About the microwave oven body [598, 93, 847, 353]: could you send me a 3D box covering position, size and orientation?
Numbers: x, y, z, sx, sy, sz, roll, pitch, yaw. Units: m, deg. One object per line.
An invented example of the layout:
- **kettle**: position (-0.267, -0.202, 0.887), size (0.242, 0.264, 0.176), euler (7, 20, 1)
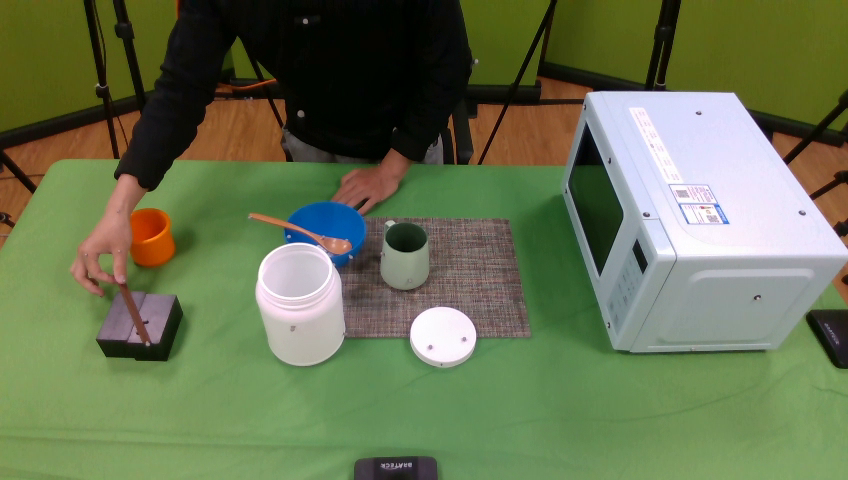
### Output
- **microwave oven body**: position (0.475, -0.041, 1.109), size (0.326, 0.261, 0.438), euler (-1, 45, -4)

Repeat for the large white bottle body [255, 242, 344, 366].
- **large white bottle body**: position (-0.196, 0.102, 0.967), size (0.131, 0.185, 0.130), euler (2, 49, -2)

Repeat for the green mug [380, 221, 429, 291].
- **green mug**: position (-0.043, 0.020, 1.116), size (0.092, 0.105, 0.124), euler (-20, 50, -21)

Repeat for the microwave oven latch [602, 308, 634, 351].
- **microwave oven latch**: position (0.332, 0.153, 1.044), size (0.030, 0.029, 0.078), euler (-1, 45, -4)

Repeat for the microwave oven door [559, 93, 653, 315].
- **microwave oven door**: position (0.327, -0.074, 1.123), size (0.039, 0.245, 0.353), euler (-1, 46, -5)

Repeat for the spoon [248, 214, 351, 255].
- **spoon**: position (-0.228, -0.014, 1.113), size (0.194, 0.022, 0.041), euler (23, 40, -15)

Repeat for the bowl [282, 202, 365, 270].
- **bowl**: position (-0.185, 0.006, 1.136), size (0.151, 0.077, 0.150), euler (3, 46, -3)

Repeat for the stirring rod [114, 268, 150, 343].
- **stirring rod**: position (-0.481, 0.105, 0.996), size (0.014, 0.006, 0.175), euler (8, 33, -48)

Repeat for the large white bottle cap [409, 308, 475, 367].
- **large white bottle cap**: position (0.031, 0.166, 1.041), size (0.115, 0.018, 0.114), euler (2, 47, -2)
